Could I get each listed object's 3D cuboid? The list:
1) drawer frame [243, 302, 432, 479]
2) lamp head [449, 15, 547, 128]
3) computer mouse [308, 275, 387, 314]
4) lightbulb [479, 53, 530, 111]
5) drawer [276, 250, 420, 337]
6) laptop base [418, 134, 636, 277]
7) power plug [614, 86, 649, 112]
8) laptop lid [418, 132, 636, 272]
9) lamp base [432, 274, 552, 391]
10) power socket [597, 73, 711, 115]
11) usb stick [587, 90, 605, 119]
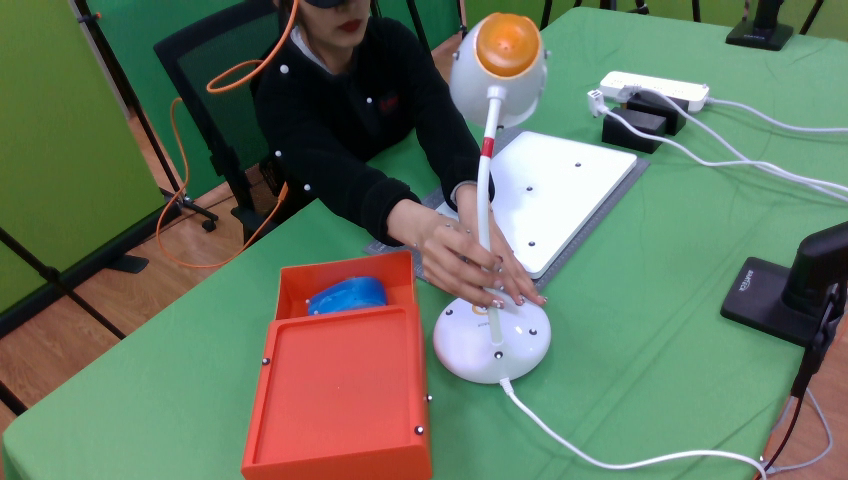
[{"bbox_3d":[-0.096,0.185,0.738,0.202,0.083,0.212,-8,40,1],"label":"drawer frame"},{"bbox_3d":[0.083,-0.187,0.660,0.112,0.112,0.123,-8,-1,2],"label":"lamp head"},{"bbox_3d":[-0.112,0.089,0.881,0.117,0.041,0.062,-16,42,0],"label":"computer mouse"},{"bbox_3d":[0.093,-0.183,0.684,0.059,0.059,0.108,-9,-4,1],"label":"lightbulb"},{"bbox_3d":[-0.103,0.118,0.825,0.194,0.073,0.210,-8,40,0],"label":"drawer"},{"bbox_3d":[0.184,-0.075,1.041,0.233,0.023,0.355,19,47,35],"label":"laptop base"},{"bbox_3d":[0.406,-0.275,1.192,0.035,0.053,0.072,-16,24,-16],"label":"power plug"},{"bbox_3d":[0.181,-0.083,1.036,0.239,0.013,0.358,22,49,35],"label":"laptop lid"},{"bbox_3d":[0.082,0.074,0.756,0.161,0.181,0.178,-16,43,-4],"label":"lamp base"},{"bbox_3d":[0.469,-0.304,1.249,0.225,0.033,0.072,20,49,30],"label":"power socket"},{"bbox_3d":[0.334,-0.258,1.171,0.021,0.059,0.027,-29,45,-4],"label":"usb stick"}]
